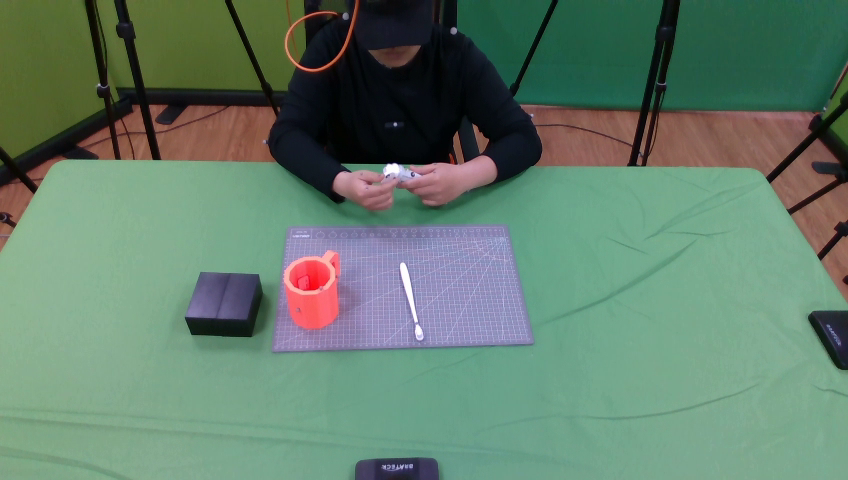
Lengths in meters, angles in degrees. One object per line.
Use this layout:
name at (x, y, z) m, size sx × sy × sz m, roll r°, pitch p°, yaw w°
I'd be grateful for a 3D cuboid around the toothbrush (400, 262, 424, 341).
toothbrush at (-0.024, 0.106, 1.093) m, size 0.014 × 0.017 × 0.180 m, roll -17°, pitch 46°, yaw 1°

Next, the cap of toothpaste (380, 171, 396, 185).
cap of toothpaste at (-0.072, -0.121, 1.172) m, size 0.037 × 0.037 × 0.011 m, roll -28°, pitch 71°, yaw -27°

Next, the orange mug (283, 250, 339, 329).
orange mug at (-0.186, 0.079, 1.052) m, size 0.083 × 0.101 × 0.126 m, roll 20°, pitch 52°, yaw 15°

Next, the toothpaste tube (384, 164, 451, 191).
toothpaste tube at (-0.016, -0.125, 1.244) m, size 0.166 × 0.034 × 0.054 m, roll 10°, pitch 21°, yaw -44°
